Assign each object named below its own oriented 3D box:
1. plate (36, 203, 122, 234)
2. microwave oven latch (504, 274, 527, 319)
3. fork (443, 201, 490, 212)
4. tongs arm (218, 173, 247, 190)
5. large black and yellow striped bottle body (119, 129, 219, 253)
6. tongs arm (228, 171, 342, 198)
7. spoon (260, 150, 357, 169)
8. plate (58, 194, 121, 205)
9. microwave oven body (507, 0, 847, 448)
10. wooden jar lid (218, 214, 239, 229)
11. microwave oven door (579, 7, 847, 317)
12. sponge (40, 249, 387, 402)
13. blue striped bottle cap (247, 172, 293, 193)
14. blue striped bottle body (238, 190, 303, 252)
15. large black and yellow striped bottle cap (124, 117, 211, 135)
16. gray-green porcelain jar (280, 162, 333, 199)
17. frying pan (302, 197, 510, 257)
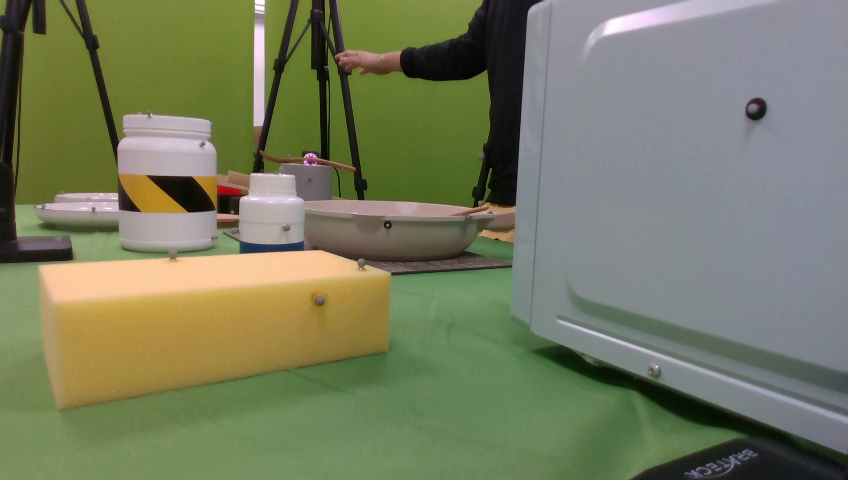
[{"bbox_3d":[-0.571,-0.040,1.083,0.208,0.039,0.207,2,8,0],"label":"plate"},{"bbox_3d":[0.100,0.041,0.471,0.079,0.029,0.030,-1,8,-28],"label":"microwave oven latch"},{"bbox_3d":[-0.006,-0.020,0.852,0.207,0.018,0.028,-22,-4,10],"label":"fork"},{"bbox_3d":[-0.315,-0.110,1.448,0.389,0.027,0.028,11,-7,-26],"label":"tongs arm"},{"bbox_3d":[-0.367,-0.080,0.876,0.131,0.184,0.130,2,7,0],"label":"large black and yellow striped bottle body"},{"bbox_3d":[-0.267,-0.103,1.378,0.387,0.026,0.050,11,-3,-40],"label":"tongs arm"},{"bbox_3d":[-0.231,-0.162,1.221,0.194,0.021,0.041,3,3,-16],"label":"spoon"},{"bbox_3d":[-0.671,-0.074,1.310,0.209,0.038,0.209,2,8,0],"label":"plate"},{"bbox_3d":[0.331,-0.042,0.425,0.444,0.260,0.324,-2,8,-31],"label":"microwave oven body"},{"bbox_3d":[-0.404,-0.037,1.169,0.108,0.020,0.108,3,7,0],"label":"wooden jar lid"},{"bbox_3d":[0.295,-0.067,0.570,0.358,0.243,0.039,-3,9,-31],"label":"microwave oven door"},{"bbox_3d":[-0.142,0.047,0.420,0.208,0.061,0.117,-3,8,-36],"label":"sponge"},{"bbox_3d":[-0.152,-0.057,0.598,0.044,0.020,0.044,3,7,0],"label":"blue striped bottle cap"},{"bbox_3d":[-0.153,-0.007,0.606,0.063,0.120,0.063,2,8,0],"label":"blue striped bottle body"},{"bbox_3d":[-0.366,-0.163,0.866,0.115,0.019,0.115,3,7,0],"label":"large black and yellow striped bottle cap"},{"bbox_3d":[-0.238,-0.092,1.221,0.106,0.126,0.106,2,7,0],"label":"gray-green porcelain jar"},{"bbox_3d":[0.050,-0.035,0.915,0.487,0.102,0.307,-5,7,10],"label":"frying pan"}]
